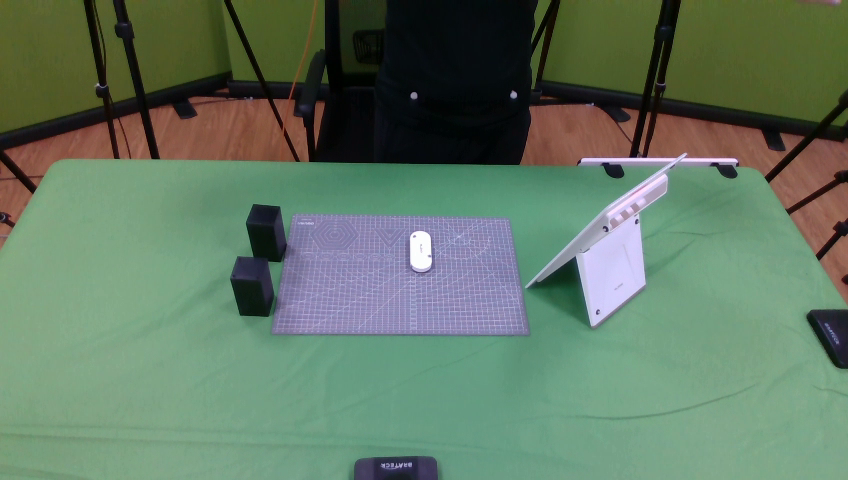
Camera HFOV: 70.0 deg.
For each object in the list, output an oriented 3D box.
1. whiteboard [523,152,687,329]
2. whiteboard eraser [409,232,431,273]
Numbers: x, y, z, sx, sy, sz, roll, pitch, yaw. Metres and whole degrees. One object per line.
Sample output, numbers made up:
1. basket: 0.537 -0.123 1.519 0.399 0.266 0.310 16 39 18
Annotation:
1. whiteboard: 0.346 0.024 1.046 0.217 0.306 0.143 -30 74 -29
2. whiteboard eraser: -0.008 0.023 1.173 0.041 0.019 0.100 1 45 -2
